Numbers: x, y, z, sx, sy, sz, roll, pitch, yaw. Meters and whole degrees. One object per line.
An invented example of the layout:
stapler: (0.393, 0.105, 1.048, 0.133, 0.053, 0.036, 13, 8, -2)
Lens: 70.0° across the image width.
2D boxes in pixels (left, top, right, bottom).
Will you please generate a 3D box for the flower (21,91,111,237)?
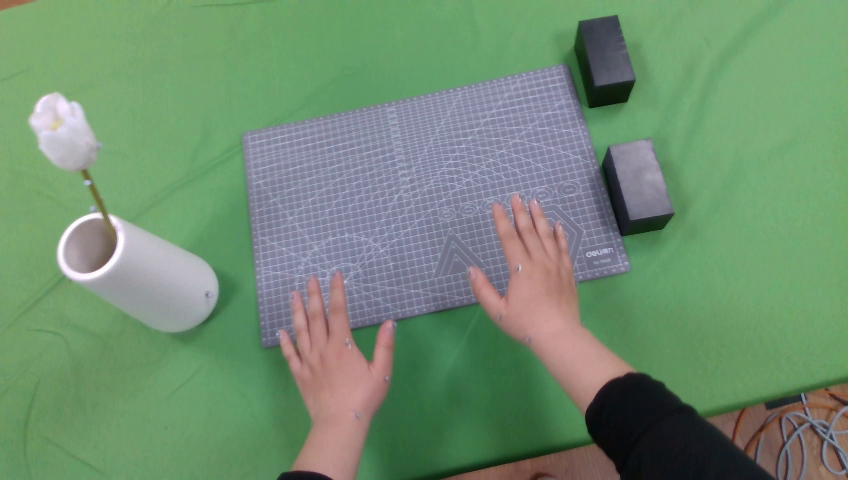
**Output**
flower: (-0.303, 0.000, 0.590, 0.038, 0.364, 0.043, -24, 64, -23)

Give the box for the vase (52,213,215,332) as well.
vase: (-0.309, 0.038, 0.664, 0.098, 0.201, 0.097, -1, 70, 4)
